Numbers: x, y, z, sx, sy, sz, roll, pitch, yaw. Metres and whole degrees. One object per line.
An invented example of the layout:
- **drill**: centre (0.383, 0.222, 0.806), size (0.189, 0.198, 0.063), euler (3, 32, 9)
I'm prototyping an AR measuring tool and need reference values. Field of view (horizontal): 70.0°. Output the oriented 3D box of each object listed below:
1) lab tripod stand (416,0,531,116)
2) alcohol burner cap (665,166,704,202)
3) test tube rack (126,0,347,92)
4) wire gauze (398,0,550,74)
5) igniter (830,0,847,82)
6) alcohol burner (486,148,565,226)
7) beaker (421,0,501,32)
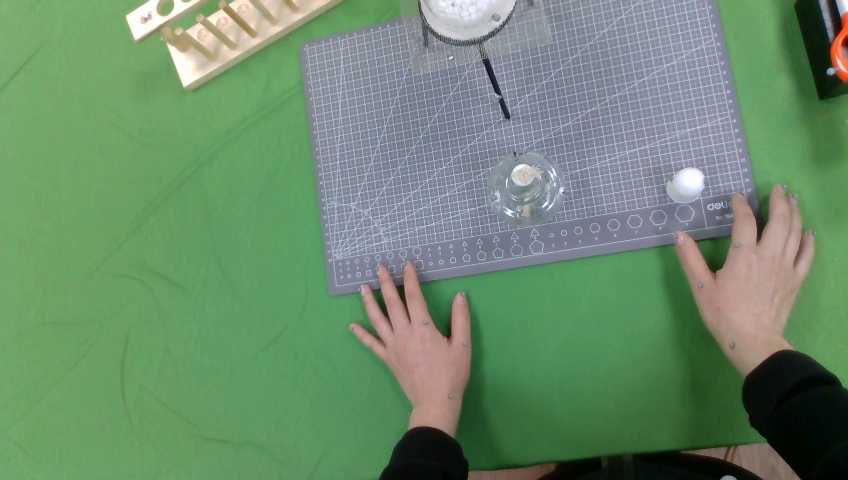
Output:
- **lab tripod stand**: centre (0.054, -0.207, 0.596), size (0.148, 0.132, 0.148), euler (-1, 85, 12)
- **alcohol burner cap**: centre (0.252, -0.056, 0.582), size (0.034, 0.048, 0.034), euler (-1, 84, 14)
- **test tube rack**: centre (-0.204, -0.268, 0.692), size (0.242, 0.085, 0.066), euler (-27, 79, 10)
- **wire gauze**: centre (0.038, -0.214, 0.533), size (0.125, 0.011, 0.121), euler (-10, 86, 10)
- **igniter**: centre (0.379, -0.190, 0.525), size (0.057, 0.025, 0.275), euler (-11, 80, 15)
- **alcohol burner**: centre (0.097, -0.054, 0.583), size (0.078, 0.119, 0.077), euler (-1, 84, 12)
- **beaker**: centre (0.022, -0.219, 0.487), size (0.084, 0.101, 0.074), euler (4, 86, 14)
